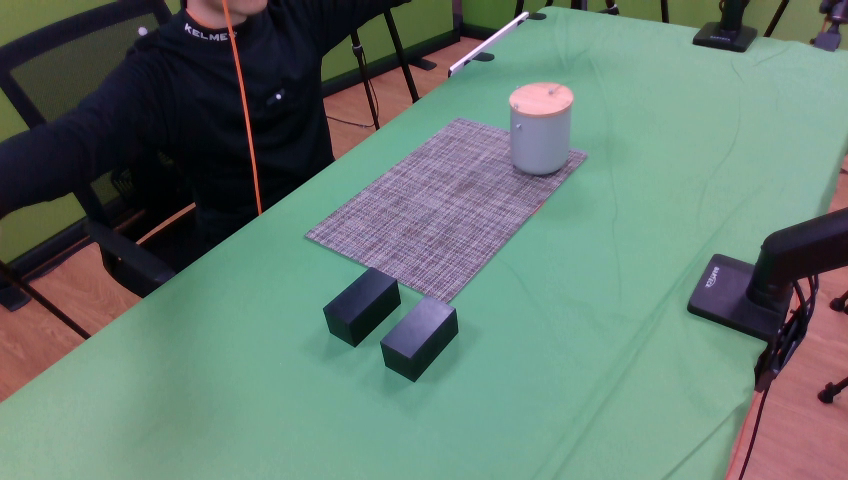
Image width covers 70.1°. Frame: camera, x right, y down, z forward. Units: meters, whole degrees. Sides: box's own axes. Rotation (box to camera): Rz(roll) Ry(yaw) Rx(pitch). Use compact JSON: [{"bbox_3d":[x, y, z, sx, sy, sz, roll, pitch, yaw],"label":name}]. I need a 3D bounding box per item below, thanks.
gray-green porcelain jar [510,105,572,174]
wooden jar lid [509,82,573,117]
[{"bbox_3d":[0.206,-0.190,1.073,0.106,0.127,0.105,-4,41,4],"label":"gray-green porcelain jar"},{"bbox_3d":[0.200,-0.236,1.033,0.108,0.021,0.108,-6,42,6],"label":"wooden jar lid"}]
